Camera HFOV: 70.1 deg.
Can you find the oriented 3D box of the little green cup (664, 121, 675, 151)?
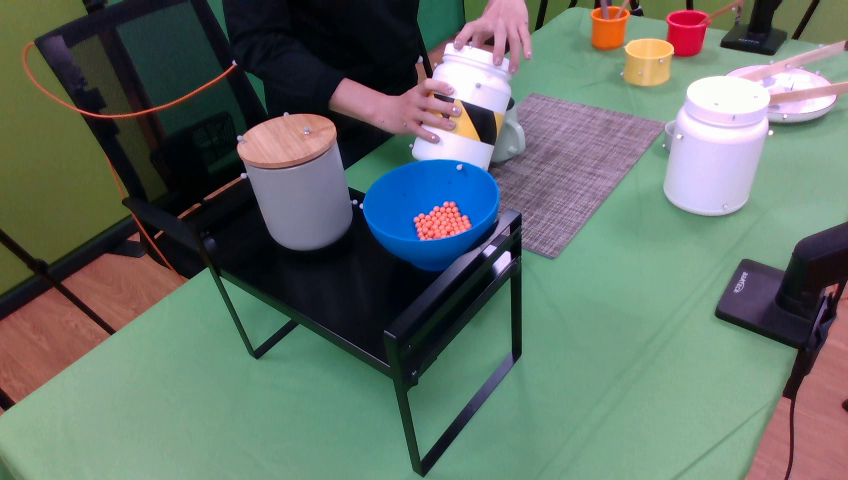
[{"bbox_3d":[0.473,-0.188,1.113,0.061,0.039,0.061,-5,40,5],"label":"little green cup"}]

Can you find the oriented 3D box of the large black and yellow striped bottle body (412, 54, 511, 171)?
[{"bbox_3d":[0.064,-0.207,0.981,0.131,0.184,0.130,16,11,-3],"label":"large black and yellow striped bottle body"}]

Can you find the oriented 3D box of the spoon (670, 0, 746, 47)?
[{"bbox_3d":[0.629,-0.485,1.350,0.022,0.193,0.042,47,54,-7],"label":"spoon"}]

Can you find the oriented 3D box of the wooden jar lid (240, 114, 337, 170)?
[{"bbox_3d":[-0.149,-0.106,0.673,0.108,0.021,0.108,-6,38,5],"label":"wooden jar lid"}]

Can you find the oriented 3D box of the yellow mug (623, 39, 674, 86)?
[{"bbox_3d":[0.484,-0.398,1.334,0.100,0.064,0.130,-18,41,-11],"label":"yellow mug"}]

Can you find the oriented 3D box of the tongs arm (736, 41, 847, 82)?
[{"bbox_3d":[0.712,-0.332,1.194,0.386,0.026,0.050,-19,45,-16],"label":"tongs arm"}]

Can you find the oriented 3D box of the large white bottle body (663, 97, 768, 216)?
[{"bbox_3d":[0.458,-0.146,0.952,0.130,0.185,0.130,-4,40,4],"label":"large white bottle body"}]

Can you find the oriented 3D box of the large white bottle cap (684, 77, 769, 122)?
[{"bbox_3d":[0.448,-0.209,0.898,0.115,0.018,0.114,-4,40,4],"label":"large white bottle cap"}]

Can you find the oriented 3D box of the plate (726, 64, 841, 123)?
[{"bbox_3d":[0.695,-0.282,1.189,0.207,0.039,0.206,-4,40,4],"label":"plate"}]

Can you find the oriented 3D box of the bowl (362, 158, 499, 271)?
[{"bbox_3d":[0.011,-0.019,0.679,0.151,0.077,0.150,-5,41,5],"label":"bowl"}]

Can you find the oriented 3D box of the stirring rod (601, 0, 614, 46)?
[{"bbox_3d":[0.439,-0.552,1.463,0.014,0.006,0.175,-7,83,2],"label":"stirring rod"}]

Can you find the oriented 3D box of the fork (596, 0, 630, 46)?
[{"bbox_3d":[0.481,-0.556,1.452,0.028,0.019,0.207,40,103,38],"label":"fork"}]

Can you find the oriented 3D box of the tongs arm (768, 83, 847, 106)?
[{"bbox_3d":[0.739,-0.281,1.134,0.388,0.028,0.028,-9,47,-5],"label":"tongs arm"}]

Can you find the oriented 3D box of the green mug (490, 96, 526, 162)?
[{"bbox_3d":[0.144,-0.201,1.122,0.093,0.105,0.124,-29,45,-23],"label":"green mug"}]

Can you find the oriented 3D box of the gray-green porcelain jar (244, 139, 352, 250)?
[{"bbox_3d":[-0.144,-0.060,0.714,0.106,0.127,0.105,-4,41,4],"label":"gray-green porcelain jar"}]

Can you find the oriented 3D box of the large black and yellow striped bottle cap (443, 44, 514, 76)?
[{"bbox_3d":[0.088,-0.287,0.964,0.115,0.019,0.115,17,11,-3],"label":"large black and yellow striped bottle cap"}]
